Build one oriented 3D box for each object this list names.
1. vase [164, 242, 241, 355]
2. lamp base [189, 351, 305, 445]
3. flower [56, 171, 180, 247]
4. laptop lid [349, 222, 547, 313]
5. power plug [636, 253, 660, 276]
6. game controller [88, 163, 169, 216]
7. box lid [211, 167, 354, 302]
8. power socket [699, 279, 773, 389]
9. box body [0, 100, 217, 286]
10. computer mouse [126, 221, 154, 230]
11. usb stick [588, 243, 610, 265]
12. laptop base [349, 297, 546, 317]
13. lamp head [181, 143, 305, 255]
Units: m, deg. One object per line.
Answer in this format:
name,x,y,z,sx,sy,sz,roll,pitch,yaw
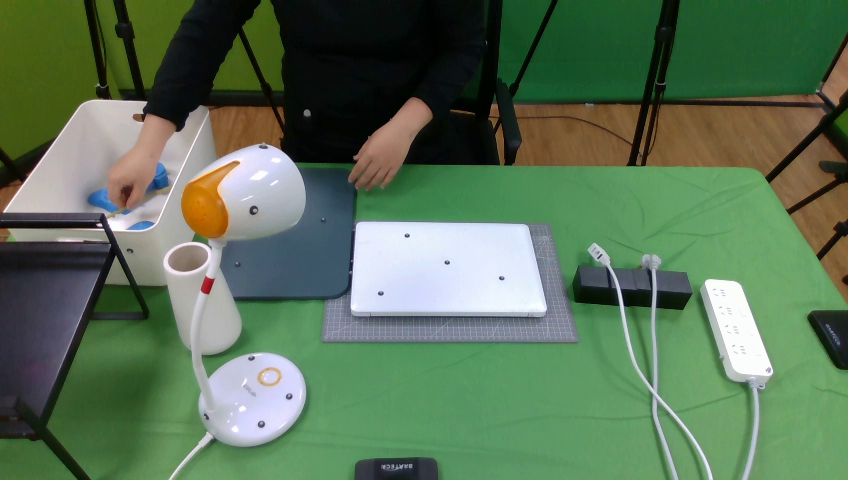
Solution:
vase,-0.349,0.096,0.954,0.098,0.201,0.097,3,47,-3
lamp base,-0.268,0.196,0.876,0.160,0.181,0.179,26,52,20
flower,-0.549,-0.082,1.168,0.044,0.038,0.361,38,43,2
laptop lid,0.041,0.045,1.143,0.357,0.013,0.240,2,44,-3
power plug,0.415,0.050,1.139,0.035,0.053,0.072,46,49,10
game controller,-0.597,-0.112,1.235,0.097,0.052,0.155,27,51,21
box lid,-0.277,-0.024,1.205,0.263,0.015,0.369,0,46,-4
power socket,0.551,0.157,1.081,0.072,0.033,0.225,5,46,1
box body,-0.560,-0.092,1.144,0.254,0.161,0.361,3,46,-2
computer mouse,-0.537,0.008,1.127,0.062,0.041,0.117,32,55,20
usb stick,0.336,0.024,1.172,0.027,0.021,0.059,33,17,-12
laptop base,0.040,0.055,1.149,0.355,0.023,0.234,1,42,-4
lamp head,-0.216,-0.044,0.697,0.112,0.113,0.123,23,31,17
